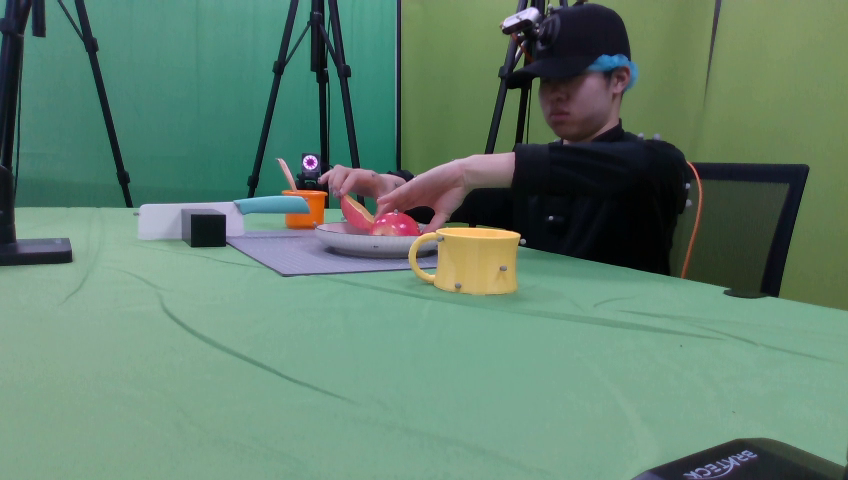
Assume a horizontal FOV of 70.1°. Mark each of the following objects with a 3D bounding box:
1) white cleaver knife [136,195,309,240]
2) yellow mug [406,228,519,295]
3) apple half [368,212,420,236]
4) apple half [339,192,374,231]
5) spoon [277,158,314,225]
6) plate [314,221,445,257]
[{"bbox_3d":[-0.337,-0.039,1.037,0.288,0.066,0.021,-6,15,-29],"label":"white cleaver knife"},{"bbox_3d":[0.044,0.022,0.707,0.131,0.064,0.100,2,7,5],"label":"yellow mug"},{"bbox_3d":[-0.047,-0.017,0.939,0.080,0.053,0.075,12,12,30],"label":"apple half"},{"bbox_3d":[-0.113,-0.038,0.993,0.081,0.033,0.081,45,8,-8],"label":"apple half"},{"bbox_3d":[-0.272,-0.103,1.260,0.042,0.193,0.021,-6,-33,-32],"label":"spoon"},{"bbox_3d":[-0.066,-0.002,0.947,0.209,0.038,0.209,3,7,0],"label":"plate"}]
